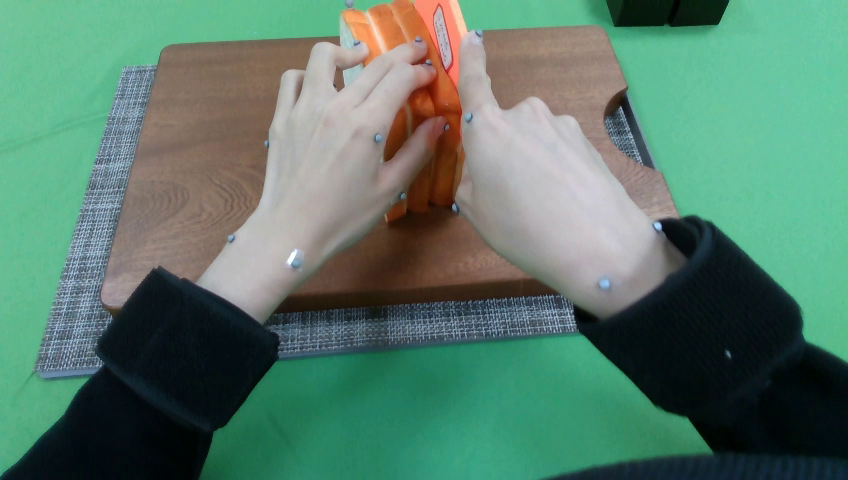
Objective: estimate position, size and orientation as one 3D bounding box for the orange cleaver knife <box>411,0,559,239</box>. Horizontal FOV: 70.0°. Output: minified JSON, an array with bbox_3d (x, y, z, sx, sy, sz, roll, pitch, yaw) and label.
[{"bbox_3d":[0.027,-0.084,0.356,0.012,0.077,0.209,-13,65,-14],"label":"orange cleaver knife"}]

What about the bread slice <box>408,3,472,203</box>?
[{"bbox_3d":[0.011,-0.108,0.433,0.019,0.106,0.130,-10,51,-11],"label":"bread slice"}]

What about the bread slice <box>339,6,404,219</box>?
[{"bbox_3d":[-0.039,-0.095,0.425,0.018,0.108,0.133,-11,51,-12],"label":"bread slice"}]
